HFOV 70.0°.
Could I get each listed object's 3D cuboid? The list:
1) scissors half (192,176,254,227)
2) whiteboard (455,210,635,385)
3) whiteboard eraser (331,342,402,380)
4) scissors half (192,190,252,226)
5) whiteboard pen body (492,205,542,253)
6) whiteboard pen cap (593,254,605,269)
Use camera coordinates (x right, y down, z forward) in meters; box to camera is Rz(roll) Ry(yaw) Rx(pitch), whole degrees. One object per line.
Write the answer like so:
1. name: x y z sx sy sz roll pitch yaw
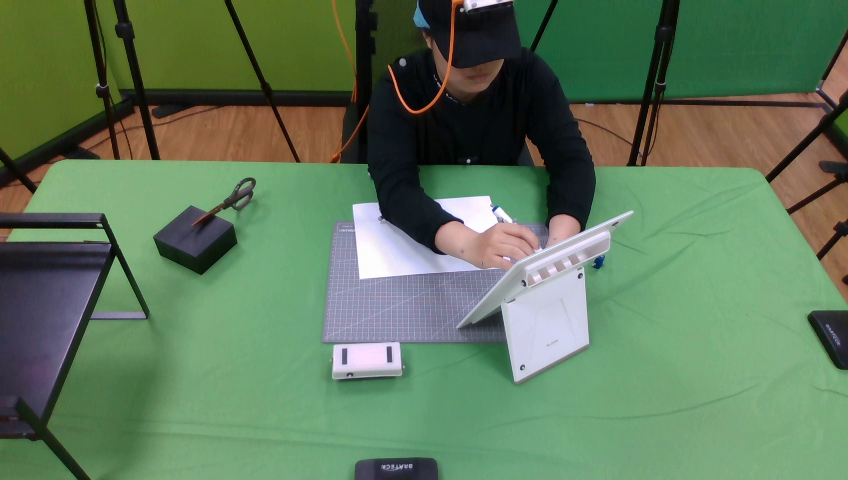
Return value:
1. scissors half: -0.388 -0.074 1.174 0.013 0.040 0.174 30 48 7
2. whiteboard: 0.211 0.111 0.955 0.217 0.306 0.143 -20 71 -23
3. whiteboard eraser: -0.094 0.198 0.986 0.113 0.042 0.055 -2 44 -6
4. scissors half: -0.393 -0.060 1.187 0.013 0.040 0.175 26 29 11
5. whiteboard pen body: 0.166 -0.006 1.008 0.140 0.017 0.017 45 56 8
6. whiteboard pen cap: 0.340 0.041 1.179 0.018 0.033 0.018 2 46 -1
